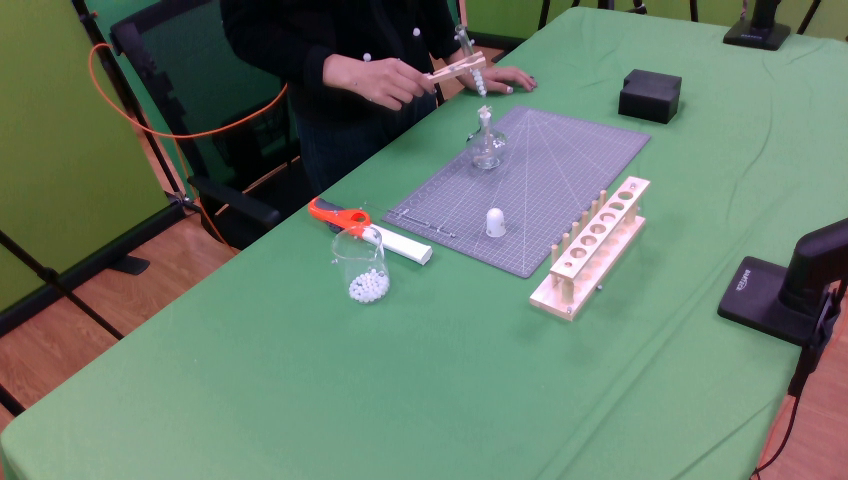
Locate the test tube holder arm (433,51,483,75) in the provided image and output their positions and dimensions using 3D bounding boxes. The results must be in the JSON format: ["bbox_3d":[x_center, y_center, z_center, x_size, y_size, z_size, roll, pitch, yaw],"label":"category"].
[{"bbox_3d":[0.057,-0.288,1.001,0.088,0.015,0.010,-25,55,0],"label":"test tube holder arm"}]

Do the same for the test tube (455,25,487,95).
[{"bbox_3d":[0.080,-0.293,0.996,0.017,0.151,0.017,-10,58,17],"label":"test tube"}]

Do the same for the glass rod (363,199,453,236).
[{"bbox_3d":[-0.031,-0.041,1.041,0.198,0.008,0.008,22,50,31],"label":"glass rod"}]

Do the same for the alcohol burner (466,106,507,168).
[{"bbox_3d":[0.115,-0.193,1.112,0.078,0.119,0.077,-4,41,4],"label":"alcohol burner"}]

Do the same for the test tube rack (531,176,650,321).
[{"bbox_3d":[0.246,0.002,0.884,0.066,0.085,0.243,22,49,32],"label":"test tube rack"}]

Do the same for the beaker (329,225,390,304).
[{"bbox_3d":[-0.089,0.040,0.890,0.074,0.101,0.083,-32,46,-24],"label":"beaker"}]

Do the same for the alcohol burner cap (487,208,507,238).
[{"bbox_3d":[0.116,-0.030,0.975,0.034,0.048,0.033,-6,40,5],"label":"alcohol burner cap"}]

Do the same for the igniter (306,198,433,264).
[{"bbox_3d":[-0.102,-0.020,1.019,0.274,0.025,0.057,22,59,32],"label":"igniter"}]

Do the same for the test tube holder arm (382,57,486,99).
[{"bbox_3d":[0.016,-0.268,1.000,0.178,0.015,0.013,-18,55,5],"label":"test tube holder arm"}]
